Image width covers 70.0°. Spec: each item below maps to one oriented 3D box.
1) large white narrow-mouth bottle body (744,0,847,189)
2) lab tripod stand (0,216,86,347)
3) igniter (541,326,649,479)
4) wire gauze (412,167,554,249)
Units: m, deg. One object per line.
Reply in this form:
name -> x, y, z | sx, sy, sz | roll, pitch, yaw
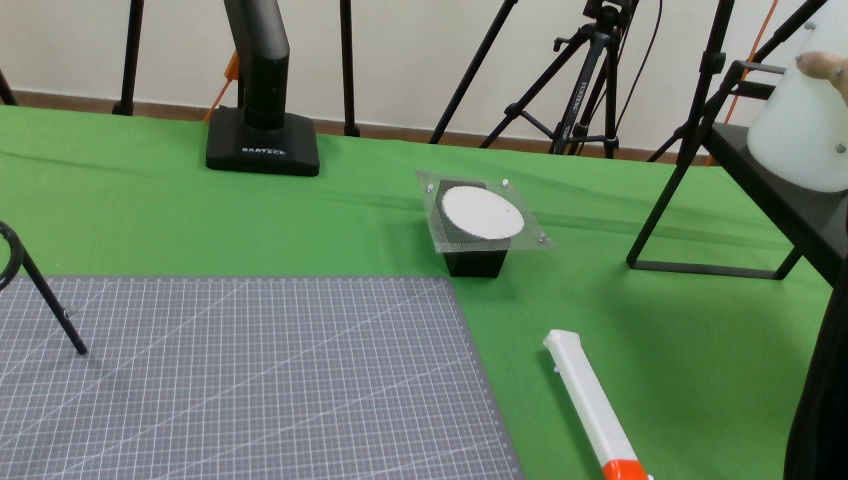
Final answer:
large white narrow-mouth bottle body -> 0.349, -0.144, 0.482 | 0.102, 0.196, 0.101 | 10, 39, -7
lab tripod stand -> -0.270, 0.059, 0.348 | 0.149, 0.132, 0.147 | 12, 38, -9
igniter -> 0.145, 0.172, 0.446 | 0.057, 0.025, 0.273 | 12, 37, -23
wire gauze -> 0.055, -0.032, 0.607 | 0.122, 0.011, 0.123 | 3, 40, -19
